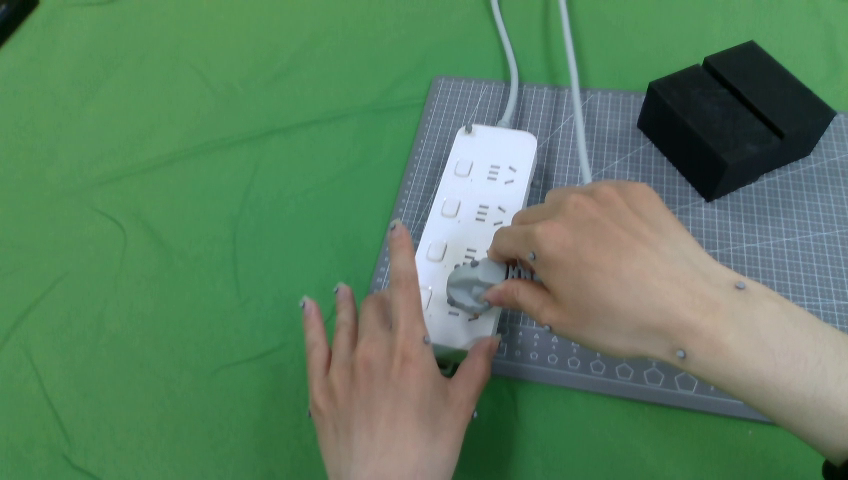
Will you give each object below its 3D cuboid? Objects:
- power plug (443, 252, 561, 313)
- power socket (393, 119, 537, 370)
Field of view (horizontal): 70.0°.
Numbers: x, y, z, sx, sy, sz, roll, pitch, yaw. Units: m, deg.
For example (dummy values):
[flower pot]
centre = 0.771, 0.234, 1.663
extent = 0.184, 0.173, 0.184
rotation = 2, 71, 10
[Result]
[power plug]
centre = 0.047, 0.036, 0.400
extent = 0.072, 0.053, 0.035
rotation = 23, 56, 16
[power socket]
centre = 0.037, -0.009, 0.476
extent = 0.072, 0.033, 0.225
rotation = 12, 59, 11
